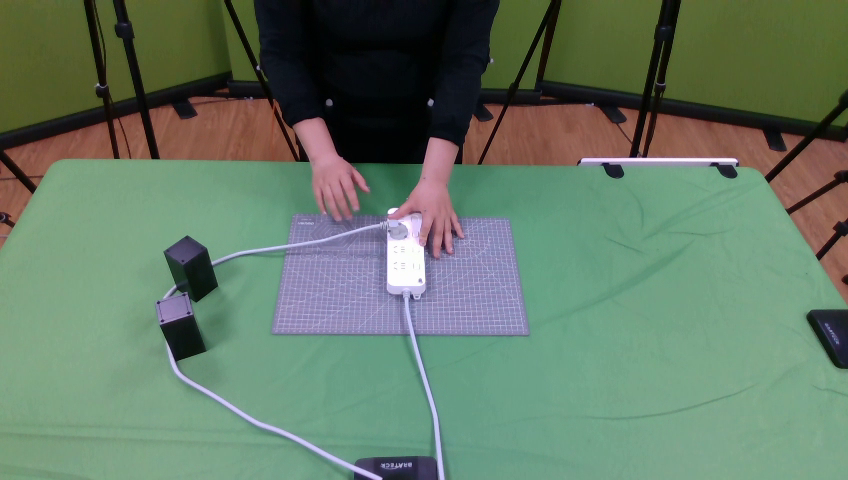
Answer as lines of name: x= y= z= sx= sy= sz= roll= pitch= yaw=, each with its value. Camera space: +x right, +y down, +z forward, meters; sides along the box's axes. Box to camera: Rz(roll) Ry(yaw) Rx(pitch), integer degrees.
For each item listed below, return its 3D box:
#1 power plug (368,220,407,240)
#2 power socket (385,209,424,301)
power plug: x=-0.068 y=-0.017 z=1.172 sx=0.072 sy=0.053 sz=0.035 roll=6 pitch=44 yaw=5
power socket: x=-0.038 y=0.019 z=1.165 sx=0.072 sy=0.033 sz=0.225 roll=0 pitch=46 yaw=-3
